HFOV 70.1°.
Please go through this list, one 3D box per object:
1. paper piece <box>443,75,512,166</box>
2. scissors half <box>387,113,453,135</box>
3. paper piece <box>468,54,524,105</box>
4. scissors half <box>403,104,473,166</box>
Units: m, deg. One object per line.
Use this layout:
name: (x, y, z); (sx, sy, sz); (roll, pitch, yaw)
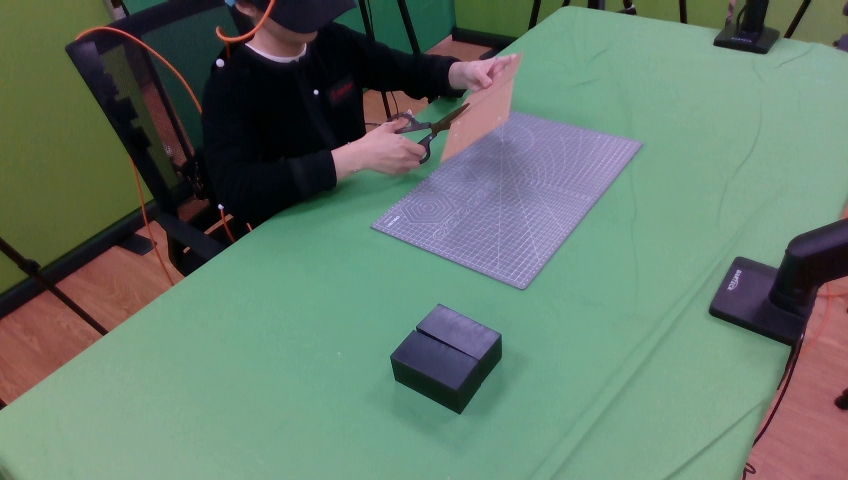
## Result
paper piece: (0.088, -0.193, 0.980); (0.135, 0.009, 0.138); (-34, 30, 36)
scissors half: (0.015, -0.208, 1.080); (0.174, 0.040, 0.013); (3, 30, 18)
paper piece: (0.118, -0.273, 1.083); (0.135, 0.004, 0.135); (-36, 16, 35)
scissors half: (0.026, -0.188, 1.089); (0.040, 0.174, 0.013); (42, 35, -12)
